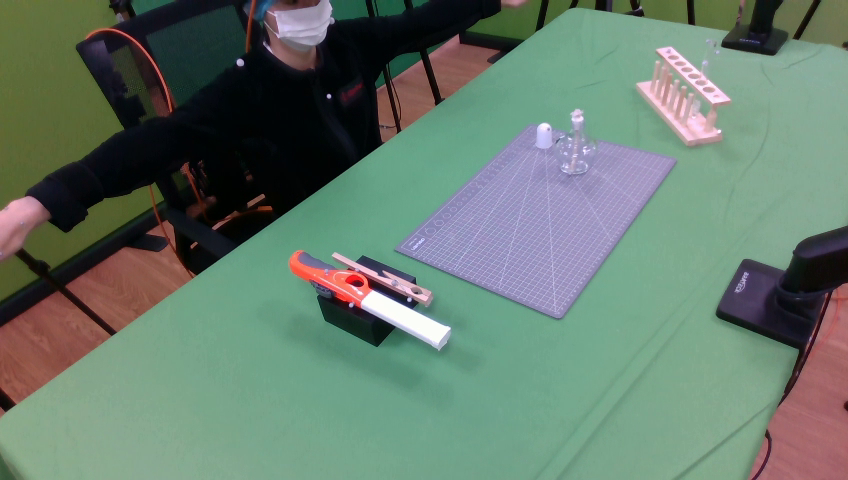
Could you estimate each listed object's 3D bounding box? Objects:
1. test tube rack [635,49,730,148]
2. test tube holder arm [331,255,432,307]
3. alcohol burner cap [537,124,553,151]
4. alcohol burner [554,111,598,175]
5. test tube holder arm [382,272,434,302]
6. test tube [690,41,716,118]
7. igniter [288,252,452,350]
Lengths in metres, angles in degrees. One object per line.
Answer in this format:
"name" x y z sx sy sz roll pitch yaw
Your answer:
"test tube rack" 0.497 -0.283 1.185 0.067 0.085 0.240 -10 40 -2
"test tube holder arm" -0.064 0.055 0.848 0.177 0.015 0.013 20 54 29
"alcohol burner cap" 0.231 -0.199 1.158 0.034 0.048 0.033 -5 40 5
"alcohol burner" 0.270 -0.175 1.066 0.078 0.119 0.077 -4 42 4
"test tube holder arm" -0.024 0.065 0.829 0.087 0.015 0.010 21 54 29
"test tube" 0.514 -0.293 1.117 0.017 0.151 0.017 -3 42 3
"igniter" -0.084 0.077 0.821 0.274 0.025 0.057 23 48 27
